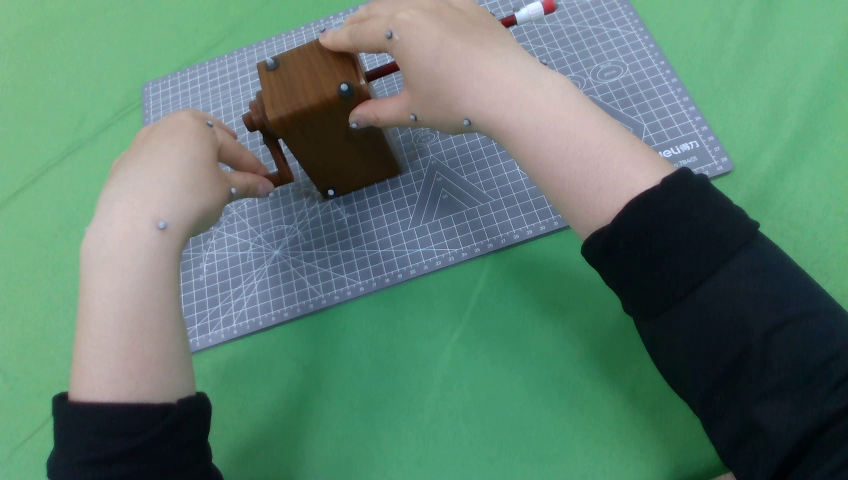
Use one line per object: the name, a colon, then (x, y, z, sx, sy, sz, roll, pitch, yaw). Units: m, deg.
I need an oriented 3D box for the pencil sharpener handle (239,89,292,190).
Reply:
pencil sharpener handle: (-0.120, -0.071, 0.437, 0.030, 0.068, 0.036, -22, 17, 3)

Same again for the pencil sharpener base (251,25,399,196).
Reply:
pencil sharpener base: (-0.072, -0.091, 0.454, 0.076, 0.108, 0.061, -22, 60, 3)

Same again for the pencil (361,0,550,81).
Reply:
pencil: (-0.003, -0.131, 0.425, 0.194, 0.012, 0.012, -21, 61, 3)
